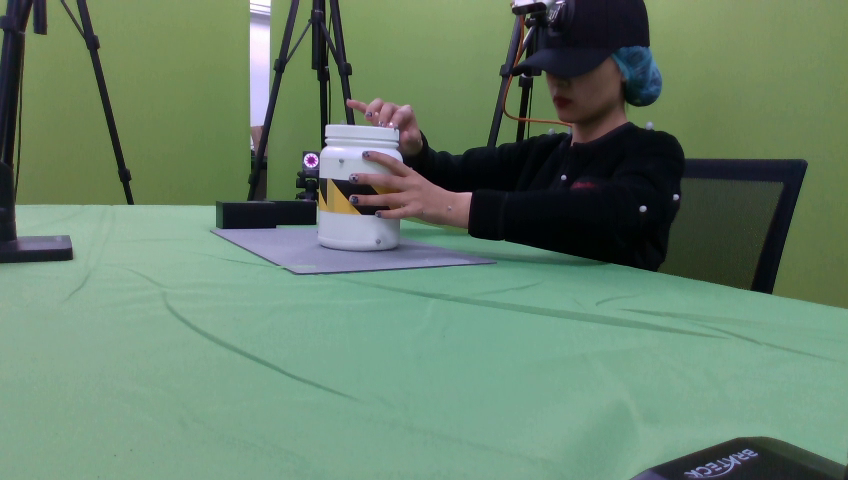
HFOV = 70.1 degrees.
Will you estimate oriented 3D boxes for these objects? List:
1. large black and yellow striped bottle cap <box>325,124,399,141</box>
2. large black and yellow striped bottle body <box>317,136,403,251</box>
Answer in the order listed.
[{"bbox_3d":[-0.097,-0.166,0.939,0.115,0.019,0.115,3,6,0],"label":"large black and yellow striped bottle cap"},{"bbox_3d":[-0.100,-0.081,0.952,0.131,0.184,0.130,3,7,0],"label":"large black and yellow striped bottle body"}]
